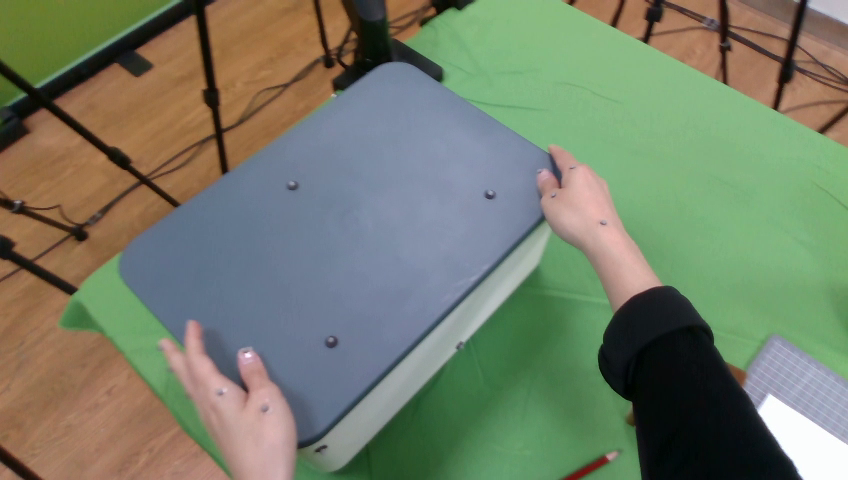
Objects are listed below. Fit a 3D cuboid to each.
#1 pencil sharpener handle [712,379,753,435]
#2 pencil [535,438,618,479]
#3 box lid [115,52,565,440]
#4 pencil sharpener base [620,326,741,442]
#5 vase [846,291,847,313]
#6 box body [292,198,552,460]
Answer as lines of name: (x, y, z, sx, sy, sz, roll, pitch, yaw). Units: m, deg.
pencil sharpener handle: (0.288, 0.157, 0.555, 0.030, 0.068, 0.036, 25, 56, 16)
pencil: (0.107, 0.236, 0.584, 0.194, 0.012, 0.012, -23, 61, -14)
box lid: (-0.068, -0.028, 0.568, 0.261, 0.015, 0.371, 38, 66, 21)
pencil sharpener base: (0.245, 0.141, 0.580, 0.076, 0.108, 0.061, 25, 62, 16)
vase: (0.503, 0.033, 0.584, 0.098, 0.202, 0.097, -1, 57, 2)
box body: (-0.067, 0.012, 0.632, 0.252, 0.162, 0.363, 37, 67, 21)
